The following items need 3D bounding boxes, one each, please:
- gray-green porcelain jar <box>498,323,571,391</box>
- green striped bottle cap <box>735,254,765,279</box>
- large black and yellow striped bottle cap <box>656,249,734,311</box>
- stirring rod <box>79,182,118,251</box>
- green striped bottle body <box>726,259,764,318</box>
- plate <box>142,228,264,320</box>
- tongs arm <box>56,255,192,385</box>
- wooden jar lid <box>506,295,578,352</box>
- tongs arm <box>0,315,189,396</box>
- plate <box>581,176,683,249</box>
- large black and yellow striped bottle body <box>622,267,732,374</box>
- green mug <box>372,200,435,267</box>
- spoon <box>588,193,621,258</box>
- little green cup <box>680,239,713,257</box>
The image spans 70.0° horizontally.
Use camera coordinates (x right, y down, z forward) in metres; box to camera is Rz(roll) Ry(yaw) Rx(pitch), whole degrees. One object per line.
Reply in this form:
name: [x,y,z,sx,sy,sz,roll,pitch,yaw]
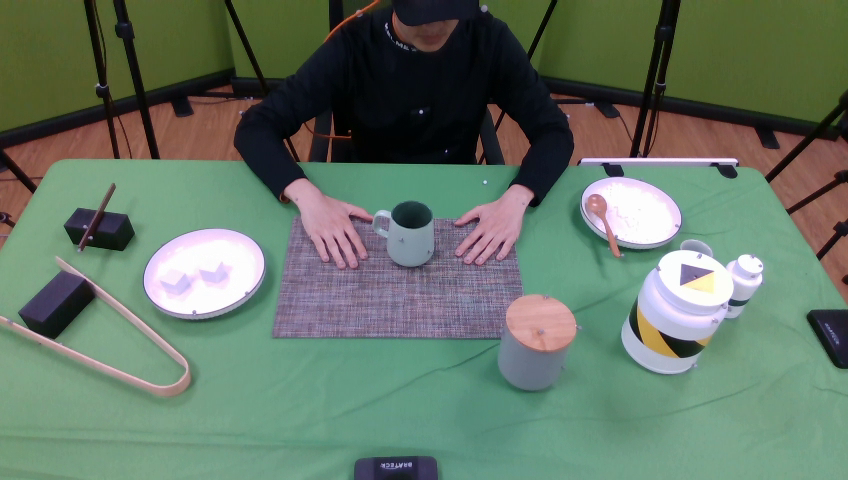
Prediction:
gray-green porcelain jar: [0.176,0.172,0.971,0.106,0.127,0.105,2,46,-2]
green striped bottle cap: [0.566,0.046,1.051,0.044,0.020,0.044,0,45,0]
large black and yellow striped bottle cap: [0.419,0.061,0.938,0.115,0.019,0.114,2,47,-2]
stirring rod: [-0.605,-0.046,1.131,0.006,0.014,0.175,0,46,1]
green striped bottle body: [0.563,0.081,1.089,0.063,0.120,0.063,2,46,-2]
plate: [-0.394,0.064,1.095,0.208,0.039,0.206,2,46,-2]
tongs arm: [-0.517,0.126,1.033,0.386,0.028,0.028,30,43,23]
wooden jar lid: [0.179,0.130,0.926,0.108,0.021,0.107,2,43,-2]
tongs arm: [-0.555,0.170,0.981,0.384,0.026,0.050,21,43,14]
plate: [0.430,-0.054,1.267,0.209,0.038,0.208,2,46,-2]
large black and yellow striped bottle body: [0.415,0.119,0.997,0.131,0.185,0.130,2,46,-2]
green mug: [-0.040,-0.016,1.146,0.125,0.105,0.092,17,48,13]
spoon: [0.367,-0.032,1.220,0.041,0.022,0.192,2,38,-1]
little green cup: [0.530,0.033,1.189,0.061,0.039,0.061,2,48,-3]
